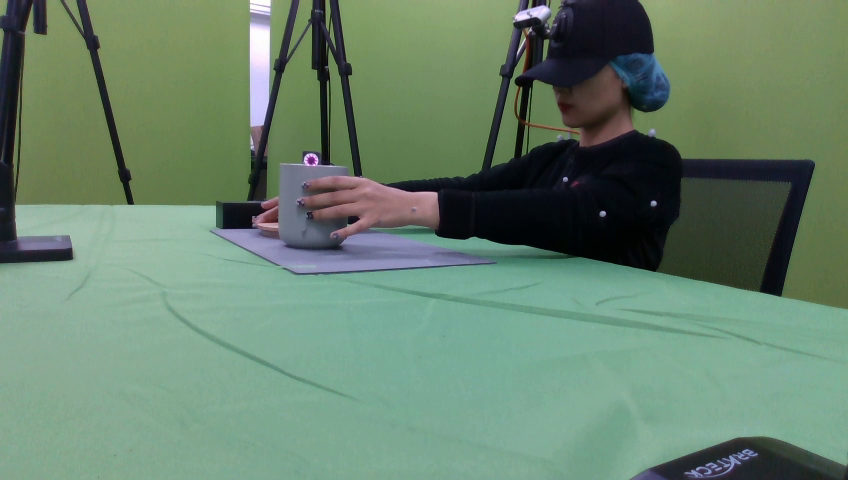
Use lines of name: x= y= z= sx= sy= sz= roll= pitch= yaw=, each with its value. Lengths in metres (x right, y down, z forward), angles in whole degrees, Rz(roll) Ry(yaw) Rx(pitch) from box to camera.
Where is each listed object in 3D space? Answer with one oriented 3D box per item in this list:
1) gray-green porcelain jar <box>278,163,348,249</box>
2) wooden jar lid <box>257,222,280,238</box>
gray-green porcelain jar: x=-0.171 y=-0.053 z=0.934 sx=0.106 sy=0.126 sz=0.106 roll=2 pitch=7 yaw=0
wooden jar lid: x=-0.234 y=-0.017 z=1.053 sx=0.108 sy=0.020 sz=0.108 roll=2 pitch=9 yaw=0
